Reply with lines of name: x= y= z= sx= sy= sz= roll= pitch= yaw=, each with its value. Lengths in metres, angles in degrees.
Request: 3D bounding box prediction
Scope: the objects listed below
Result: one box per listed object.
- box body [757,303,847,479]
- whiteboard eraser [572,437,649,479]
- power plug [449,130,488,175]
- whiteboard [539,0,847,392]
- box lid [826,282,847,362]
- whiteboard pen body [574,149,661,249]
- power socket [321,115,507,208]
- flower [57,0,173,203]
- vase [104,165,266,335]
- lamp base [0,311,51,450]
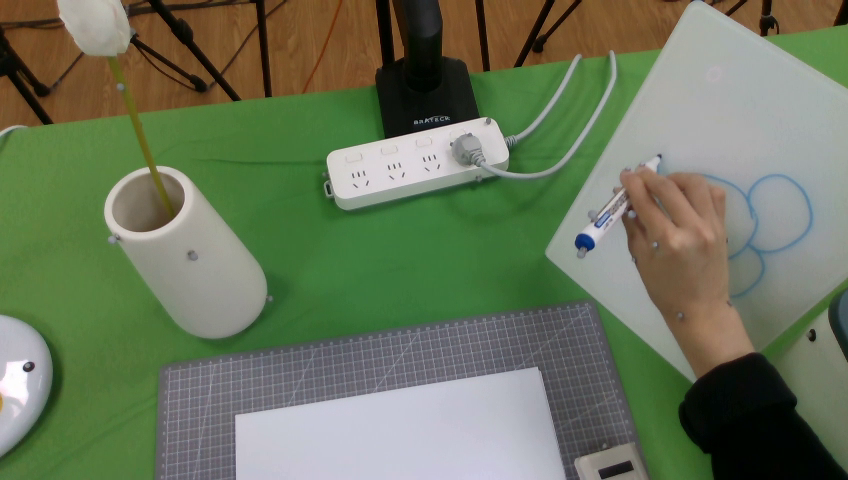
box body: x=0.468 y=0.212 z=0.474 sx=0.254 sy=0.161 sz=0.360 roll=-9 pitch=62 yaw=-5
whiteboard eraser: x=0.175 y=0.234 z=0.527 sx=0.056 sy=0.042 sz=0.111 roll=-13 pitch=63 yaw=-8
power plug: x=0.048 y=-0.091 z=0.683 sx=0.035 sy=0.053 sz=0.072 roll=-4 pitch=63 yaw=-2
whiteboard: x=0.284 y=-0.043 z=0.564 sx=0.144 sy=0.307 sz=0.215 roll=-30 pitch=64 yaw=-36
box lid: x=0.468 y=0.175 z=0.409 sx=0.263 sy=0.015 sz=0.368 roll=-9 pitch=63 yaw=-5
whiteboard pen body: x=0.159 y=-0.038 z=0.484 sx=0.017 sy=0.017 sz=0.140 roll=36 pitch=56 yaw=18
power socket: x=-0.009 y=-0.093 z=0.710 sx=0.227 sy=0.033 sz=0.071 roll=-13 pitch=63 yaw=-7
flower: x=-0.211 y=-0.041 z=0.495 sx=0.038 sy=0.365 sz=0.043 roll=-19 pitch=45 yaw=-18
vase: x=-0.215 y=0.015 z=0.558 sx=0.098 sy=0.201 sz=0.097 roll=-1 pitch=61 yaw=2
lamp base: x=-0.458 y=0.101 z=0.522 sx=0.178 sy=0.182 sz=0.160 roll=21 pitch=63 yaw=14
